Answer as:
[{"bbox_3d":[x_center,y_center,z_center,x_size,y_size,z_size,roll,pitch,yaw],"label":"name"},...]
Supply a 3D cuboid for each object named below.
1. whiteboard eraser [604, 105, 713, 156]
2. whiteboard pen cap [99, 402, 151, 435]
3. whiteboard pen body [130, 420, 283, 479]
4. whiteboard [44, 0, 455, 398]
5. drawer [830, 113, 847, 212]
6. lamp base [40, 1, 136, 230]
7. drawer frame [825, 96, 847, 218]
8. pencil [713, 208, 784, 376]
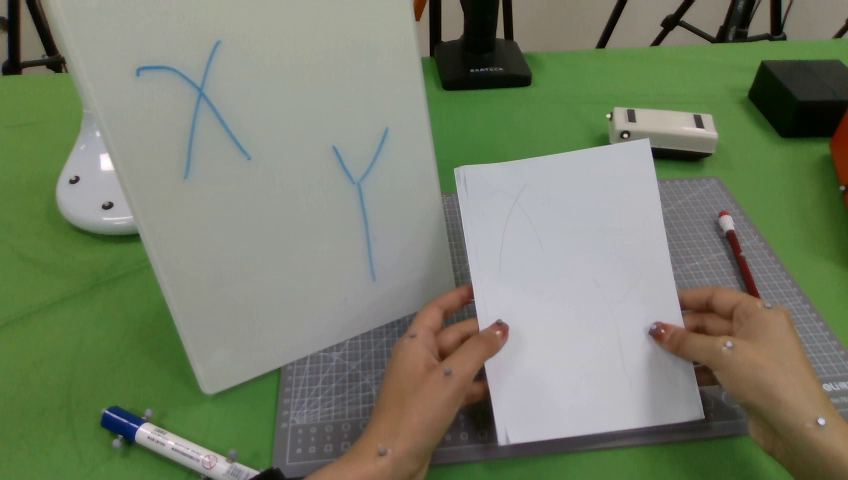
[{"bbox_3d":[0.264,-0.124,0.688,0.112,0.042,0.055,7,45,7],"label":"whiteboard eraser"},{"bbox_3d":[-0.211,0.127,0.428,0.033,0.018,0.018,16,45,18],"label":"whiteboard pen cap"},{"bbox_3d":[-0.158,0.144,0.411,0.140,0.017,0.017,15,45,17],"label":"whiteboard pen body"},{"bbox_3d":[-0.120,-0.074,0.478,0.217,0.308,0.142,-20,27,-19],"label":"whiteboard"},{"bbox_3d":[0.518,-0.043,0.576,0.194,0.074,0.210,12,43,13],"label":"drawer"},{"bbox_3d":[-0.306,-0.126,0.581,0.178,0.182,0.160,25,48,27],"label":"lamp base"},{"bbox_3d":[0.519,-0.048,0.578,0.201,0.083,0.212,11,43,12],"label":"drawer frame"},{"bbox_3d":[0.284,0.037,0.533,0.012,0.012,0.192,3,44,3],"label":"pencil"}]
